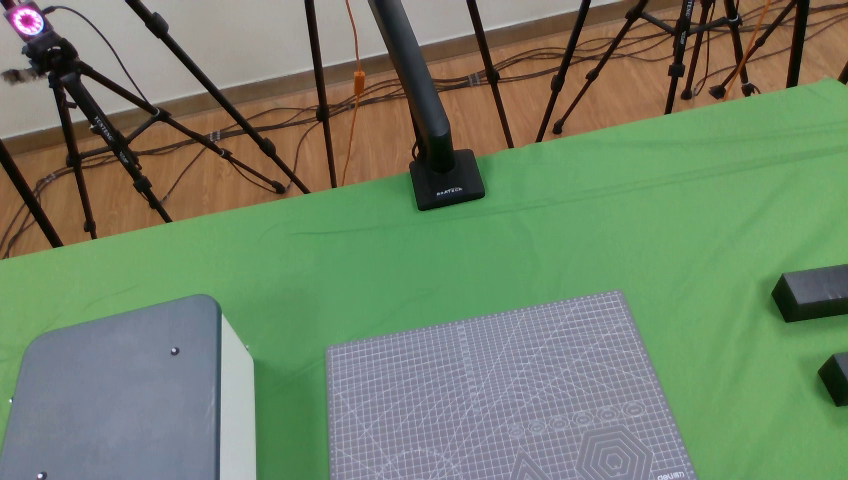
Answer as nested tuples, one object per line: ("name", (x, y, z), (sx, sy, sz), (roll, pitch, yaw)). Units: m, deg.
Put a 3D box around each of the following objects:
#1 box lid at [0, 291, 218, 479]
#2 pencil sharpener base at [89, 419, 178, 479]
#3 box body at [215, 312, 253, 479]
("box lid", (-0.365, 0.234, 0.691), (0.263, 0.015, 0.367), (-14, 54, -1))
("pencil sharpener base", (-0.367, 0.287, 0.772), (0.061, 0.108, 0.076), (-12, 53, 0))
("box body", (-0.355, 0.280, 0.749), (0.254, 0.162, 0.360), (-13, 53, -1))
